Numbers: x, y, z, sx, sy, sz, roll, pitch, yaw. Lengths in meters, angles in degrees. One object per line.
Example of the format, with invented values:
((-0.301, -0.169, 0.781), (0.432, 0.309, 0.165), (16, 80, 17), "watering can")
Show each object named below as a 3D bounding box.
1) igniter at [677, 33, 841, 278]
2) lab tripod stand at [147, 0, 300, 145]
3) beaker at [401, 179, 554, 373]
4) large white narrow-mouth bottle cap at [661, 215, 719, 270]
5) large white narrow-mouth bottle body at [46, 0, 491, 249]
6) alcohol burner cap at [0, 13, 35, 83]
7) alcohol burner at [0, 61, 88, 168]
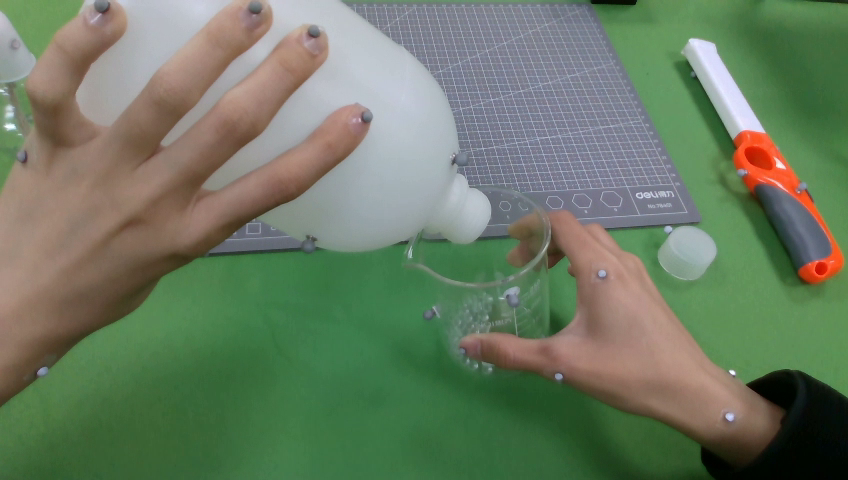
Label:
((0.279, -0.085, 0.519), (0.057, 0.025, 0.273), (5, 53, -17), "igniter")
((-0.151, -0.167, 0.459), (0.148, 0.132, 0.147), (4, 54, -6), "lab tripod stand")
((0.035, 0.027, 0.358), (0.084, 0.101, 0.073), (-17, 47, -2), "beaker")
((0.197, 0.002, 0.451), (0.038, 0.024, 0.037), (3, 54, -4), "large white narrow-mouth bottle cap")
((-0.048, -0.052, 0.277), (0.196, 0.102, 0.101), (29, 47, -28), "large white narrow-mouth bottle body")
((-0.277, -0.128, 0.387), (0.034, 0.048, 0.033), (2, 60, -4), "alcohol burner cap")
((-0.280, -0.108, 0.417), (0.078, 0.120, 0.077), (4, 52, -5), "alcohol burner")
